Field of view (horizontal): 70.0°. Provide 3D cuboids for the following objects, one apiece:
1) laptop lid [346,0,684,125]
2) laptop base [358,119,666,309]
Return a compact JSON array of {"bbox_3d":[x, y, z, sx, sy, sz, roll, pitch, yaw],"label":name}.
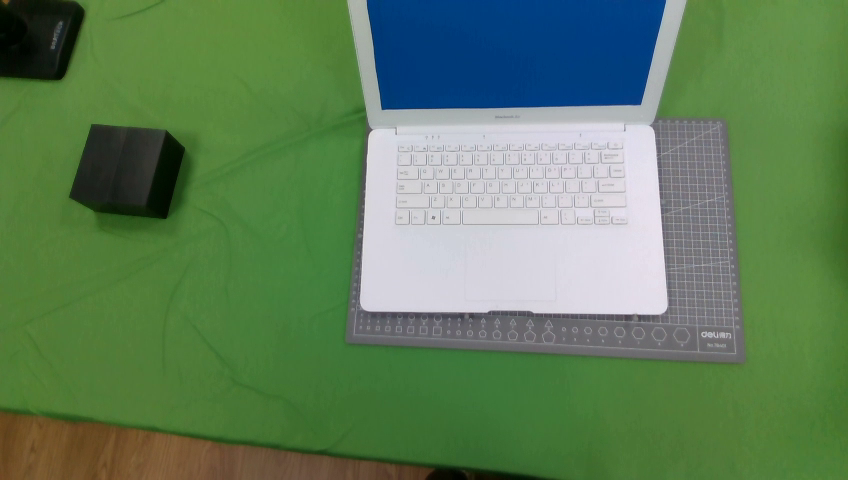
[{"bbox_3d":[0.095,-0.221,0.668,0.356,0.244,0.013,-1,50,5],"label":"laptop lid"},{"bbox_3d":[0.101,-0.033,0.728,0.354,0.023,0.234,0,78,4],"label":"laptop base"}]
